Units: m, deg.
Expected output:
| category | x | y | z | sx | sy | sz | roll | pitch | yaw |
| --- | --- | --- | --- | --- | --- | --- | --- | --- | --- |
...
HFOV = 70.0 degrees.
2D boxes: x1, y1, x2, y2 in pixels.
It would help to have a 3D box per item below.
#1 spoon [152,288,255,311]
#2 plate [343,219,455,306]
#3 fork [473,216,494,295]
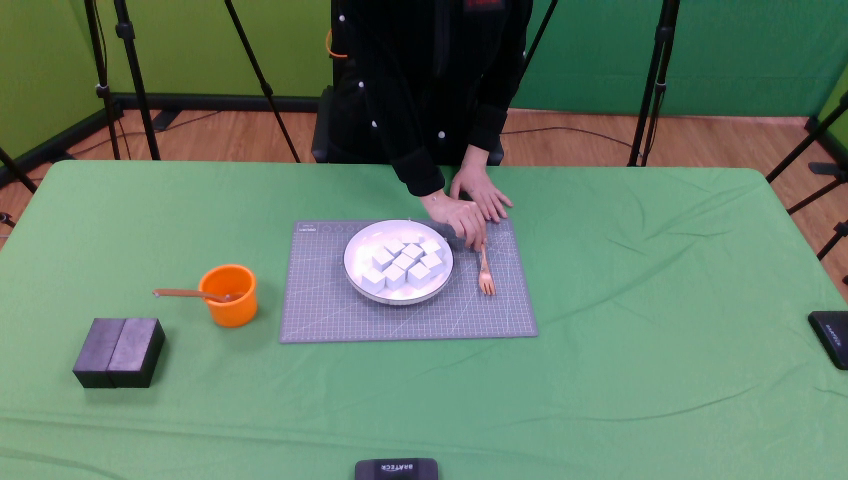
| category | x | y | z | sx | sy | sz | roll | pitch | yaw |
| --- | --- | --- | --- | --- | --- | --- | --- | --- | --- |
| spoon | -0.356 | 0.092 | 0.992 | 0.021 | 0.195 | 0.041 | -47 | 59 | 13 |
| plate | -0.047 | 0.045 | 1.136 | 0.208 | 0.039 | 0.206 | 2 | 46 | -2 |
| fork | 0.112 | 0.026 | 1.176 | 0.028 | 0.019 | 0.206 | 4 | 49 | -9 |
